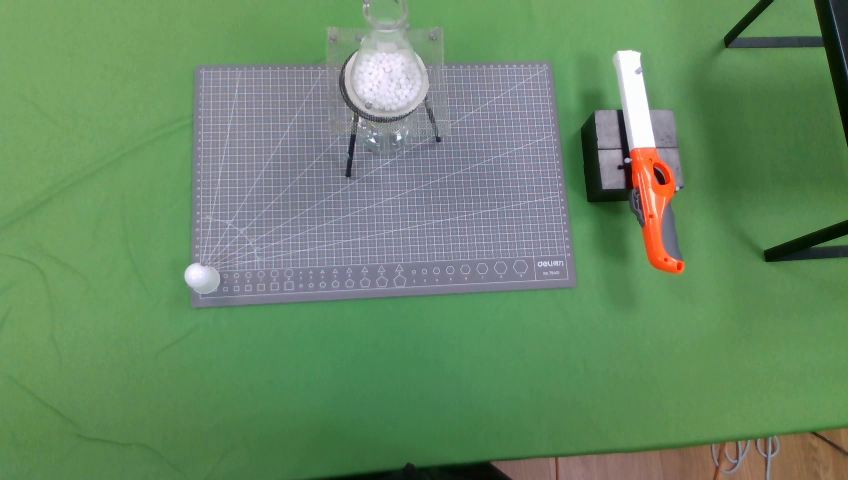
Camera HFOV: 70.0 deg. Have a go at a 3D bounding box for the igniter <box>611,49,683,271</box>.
[{"bbox_3d":[0.260,-0.097,0.712,0.057,0.025,0.275,-3,76,-10],"label":"igniter"}]

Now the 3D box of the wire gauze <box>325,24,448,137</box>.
[{"bbox_3d":[-0.038,-0.166,0.622,0.125,0.011,0.121,0,79,-7],"label":"wire gauze"}]

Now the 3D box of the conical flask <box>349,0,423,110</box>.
[{"bbox_3d":[-0.035,-0.180,0.565,0.075,0.122,0.075,1,75,-3],"label":"conical flask"}]

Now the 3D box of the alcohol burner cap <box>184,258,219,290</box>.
[{"bbox_3d":[-0.249,0.036,0.671,0.034,0.048,0.033,2,76,-6],"label":"alcohol burner cap"}]

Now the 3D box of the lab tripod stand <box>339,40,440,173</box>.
[{"bbox_3d":[-0.051,-0.155,0.686,0.148,0.132,0.147,1,77,-3],"label":"lab tripod stand"}]

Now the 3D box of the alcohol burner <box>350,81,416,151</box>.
[{"bbox_3d":[-0.047,-0.149,0.695,0.078,0.119,0.077,1,78,-3],"label":"alcohol burner"}]
